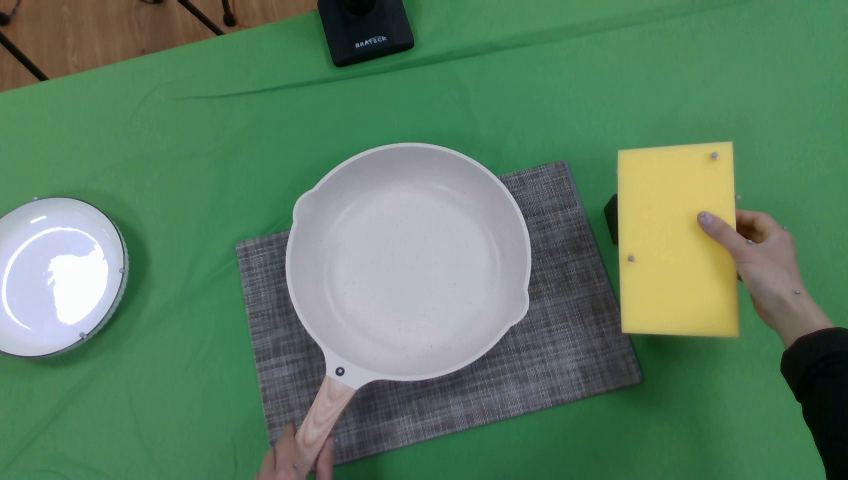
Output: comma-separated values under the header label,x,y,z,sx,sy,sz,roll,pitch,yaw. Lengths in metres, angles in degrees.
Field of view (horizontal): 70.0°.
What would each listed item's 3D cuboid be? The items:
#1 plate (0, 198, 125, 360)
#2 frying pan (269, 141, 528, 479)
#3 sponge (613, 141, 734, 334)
label,x,y,z,sx,sy,sz,roll,pitch,yaw
plate,-0.480,0.050,0.771,0.208,0.039,0.206,0,74,1
frying pan,-0.069,0.109,0.704,0.306,0.103,0.486,26,68,10
sponge,0.278,0.000,0.680,0.118,0.061,0.206,-3,84,23
